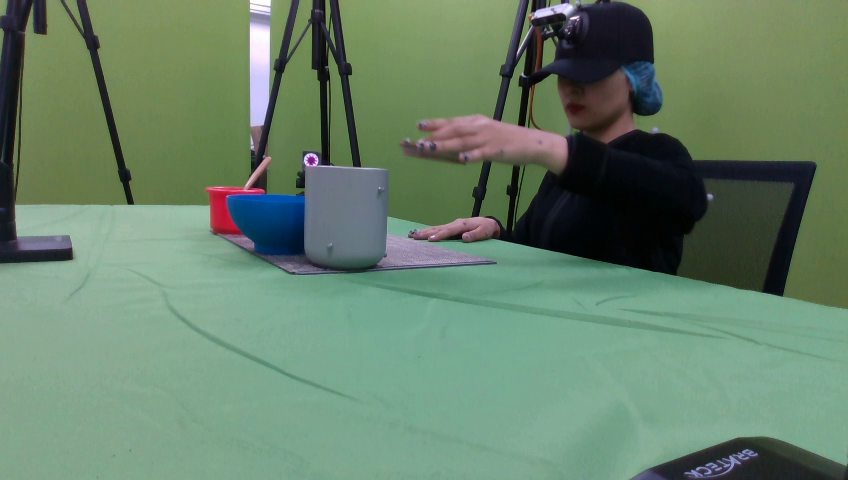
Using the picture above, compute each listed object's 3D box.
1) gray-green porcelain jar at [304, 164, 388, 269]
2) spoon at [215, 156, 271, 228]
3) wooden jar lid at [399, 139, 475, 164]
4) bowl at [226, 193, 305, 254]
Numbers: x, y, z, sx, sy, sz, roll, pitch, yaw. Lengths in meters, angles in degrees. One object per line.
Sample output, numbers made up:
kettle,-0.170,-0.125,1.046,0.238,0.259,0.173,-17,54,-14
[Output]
gray-green porcelain jar,-0.099,-0.031,0.770,0.106,0.126,0.106,2,7,0
spoon,-0.318,-0.090,1.091,0.041,0.022,0.193,7,52,16
wooden jar lid,0.017,-0.123,0.850,0.108,0.020,0.108,9,7,-1
bowl,-0.205,-0.024,0.866,0.151,0.077,0.151,3,7,0
